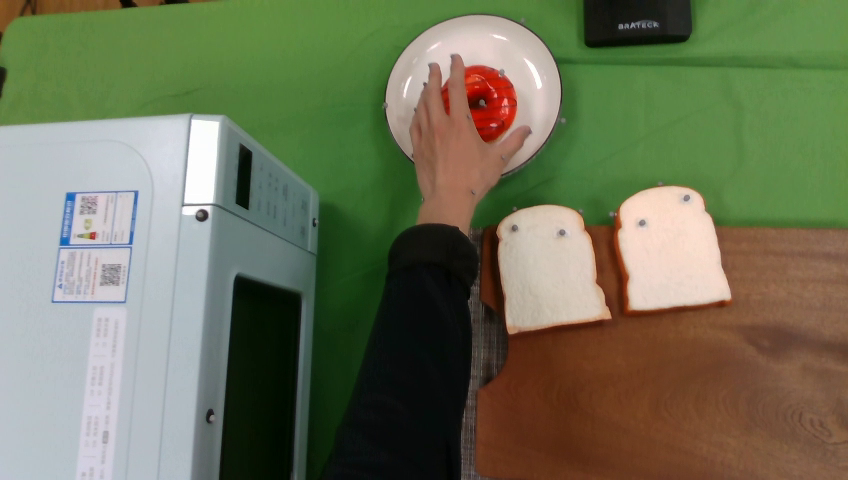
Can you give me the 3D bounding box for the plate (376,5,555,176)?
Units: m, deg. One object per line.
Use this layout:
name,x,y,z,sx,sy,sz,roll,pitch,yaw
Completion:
plate,0.048,-0.172,0.712,0.207,0.039,0.207,-2,80,9

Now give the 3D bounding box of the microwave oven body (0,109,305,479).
microwave oven body,-0.308,0.130,0.597,0.325,0.261,0.440,-1,80,8

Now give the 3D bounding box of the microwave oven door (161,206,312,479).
microwave oven door,-0.164,0.166,0.563,0.039,0.245,0.354,-2,80,9

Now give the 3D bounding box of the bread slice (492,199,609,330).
bread slice,0.125,0.024,0.645,0.107,0.018,0.133,-13,77,6

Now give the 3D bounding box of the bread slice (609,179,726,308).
bread slice,0.247,0.001,0.631,0.105,0.019,0.131,-9,79,6

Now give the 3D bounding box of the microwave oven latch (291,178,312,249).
microwave oven latch,-0.146,-0.030,0.699,0.030,0.029,0.079,0,81,8

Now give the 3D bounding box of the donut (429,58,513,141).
donut,0.054,-0.162,0.697,0.099,0.048,0.098,-2,79,12
